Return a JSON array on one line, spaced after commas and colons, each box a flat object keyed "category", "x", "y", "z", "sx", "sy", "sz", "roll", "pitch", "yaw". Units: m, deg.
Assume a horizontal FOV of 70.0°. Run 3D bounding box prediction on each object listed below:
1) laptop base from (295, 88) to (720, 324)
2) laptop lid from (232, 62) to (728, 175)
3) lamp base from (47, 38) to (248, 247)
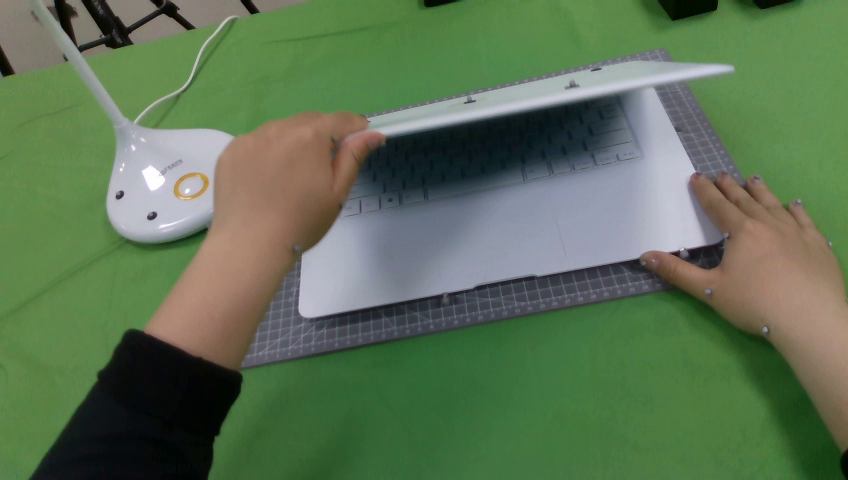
[{"category": "laptop base", "x": 0.055, "y": -0.047, "z": 0.566, "sx": 0.354, "sy": 0.023, "sz": 0.233, "roll": -11, "pitch": 52, "yaw": 5}, {"category": "laptop lid", "x": 0.037, "y": -0.112, "z": 0.522, "sx": 0.356, "sy": 0.013, "sz": 0.240, "roll": -11, "pitch": 15, "yaw": 7}, {"category": "lamp base", "x": -0.293, "y": -0.108, "z": 0.602, "sx": 0.178, "sy": 0.182, "sz": 0.160, "roll": 21, "pitch": 58, "yaw": 32}]
